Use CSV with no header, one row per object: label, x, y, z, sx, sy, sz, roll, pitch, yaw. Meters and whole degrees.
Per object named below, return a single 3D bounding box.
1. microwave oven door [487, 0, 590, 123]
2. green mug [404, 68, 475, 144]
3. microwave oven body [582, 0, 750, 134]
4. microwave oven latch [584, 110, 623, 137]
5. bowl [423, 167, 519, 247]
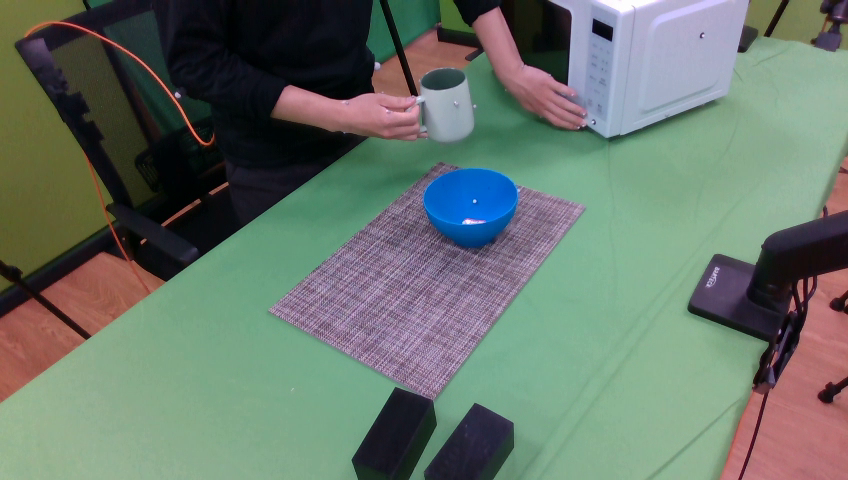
microwave oven door,0.232,-0.420,1.231,0.039,0.245,0.352,-22,43,-16
green mug,0.023,-0.222,1.030,0.126,0.105,0.091,-26,45,-16
microwave oven body,0.382,-0.445,1.246,0.327,0.261,0.437,-22,42,-16
microwave oven latch,0.337,-0.223,1.142,0.030,0.029,0.078,-20,42,-14
bowl,0.076,-0.041,0.959,0.151,0.077,0.150,-4,41,4
